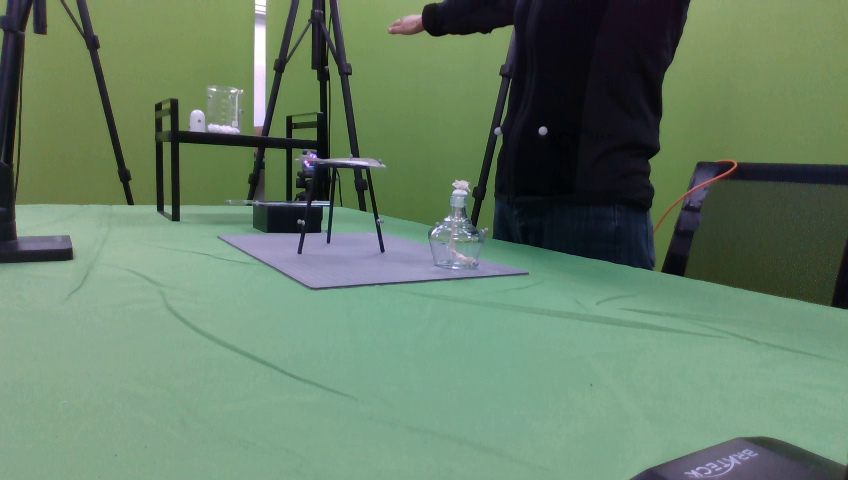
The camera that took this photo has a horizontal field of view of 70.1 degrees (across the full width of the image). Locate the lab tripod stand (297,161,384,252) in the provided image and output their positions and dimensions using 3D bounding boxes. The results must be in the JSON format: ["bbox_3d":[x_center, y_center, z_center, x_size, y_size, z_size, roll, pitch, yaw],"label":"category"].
[{"bbox_3d":[-0.130,-0.051,0.903,0.148,0.131,0.148,3,9,0],"label":"lab tripod stand"}]

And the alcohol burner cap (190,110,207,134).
[{"bbox_3d":[-0.464,-0.242,1.241,0.034,0.048,0.034,1,7,0],"label":"alcohol burner cap"}]

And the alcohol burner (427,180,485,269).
[{"bbox_3d":[0.044,-0.021,0.807,0.078,0.119,0.078,4,6,0],"label":"alcohol burner"}]

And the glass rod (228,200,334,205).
[{"bbox_3d":[-0.268,-0.071,1.148,0.201,0.008,0.008,-1,8,-28],"label":"glass rod"}]

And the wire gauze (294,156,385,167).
[{"bbox_3d":[-0.128,-0.118,0.901,0.125,0.011,0.121,0,8,-14],"label":"wire gauze"}]

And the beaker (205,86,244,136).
[{"bbox_3d":[-0.430,-0.278,1.310,0.084,0.100,0.074,5,8,13],"label":"beaker"}]
